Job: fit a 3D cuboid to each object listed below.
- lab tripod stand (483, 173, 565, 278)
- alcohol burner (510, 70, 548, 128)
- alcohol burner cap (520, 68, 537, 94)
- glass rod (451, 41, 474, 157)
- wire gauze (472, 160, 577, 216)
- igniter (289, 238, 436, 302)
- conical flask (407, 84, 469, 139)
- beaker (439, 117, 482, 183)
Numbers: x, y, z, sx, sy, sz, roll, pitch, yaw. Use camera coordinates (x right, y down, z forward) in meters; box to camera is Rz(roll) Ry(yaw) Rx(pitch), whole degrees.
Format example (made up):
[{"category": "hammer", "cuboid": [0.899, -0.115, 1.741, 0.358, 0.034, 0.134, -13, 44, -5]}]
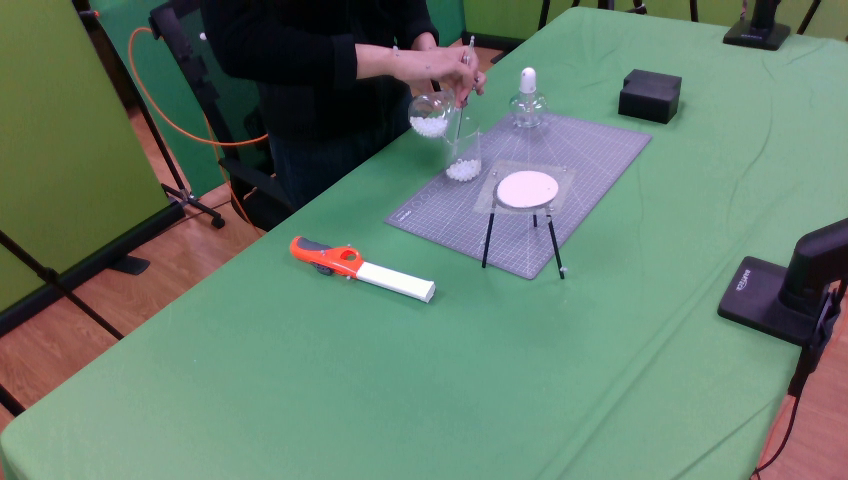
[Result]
[{"category": "lab tripod stand", "cuboid": [0.151, -0.025, 0.896, 0.148, 0.132, 0.147, -7, 40, 6]}, {"category": "alcohol burner", "cuboid": [0.209, -0.287, 1.208, 0.078, 0.119, 0.077, -5, 42, 5]}, {"category": "alcohol burner cap", "cuboid": [0.205, -0.313, 1.183, 0.034, 0.048, 0.033, -3, 50, 4]}, {"category": "glass rod", "cuboid": [0.066, -0.244, 1.052, 0.008, 0.199, 0.008, 9, 10, -1]}, {"category": "wire gauze", "cuboid": [0.143, -0.073, 0.850, 0.121, 0.011, 0.125, 8, 43, 22]}, {"category": "igniter", "cuboid": [-0.106, 0.043, 0.949, 0.274, 0.025, 0.057, 16, 57, 27]}, {"category": "conical flask", "cuboid": [0.031, -0.222, 0.995, 0.075, 0.075, 0.122, 15, 37, 26]}, {"category": "beaker", "cuboid": [0.068, -0.160, 1.097, 0.073, 0.101, 0.084, 7, 43, 19]}]
